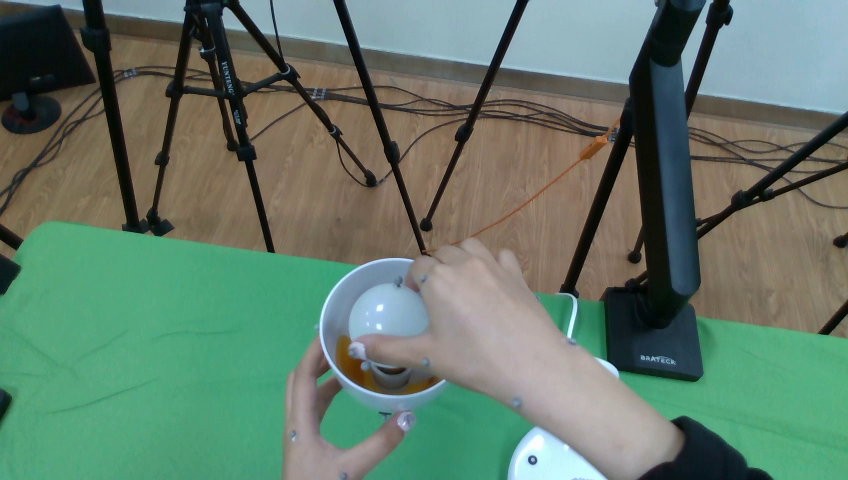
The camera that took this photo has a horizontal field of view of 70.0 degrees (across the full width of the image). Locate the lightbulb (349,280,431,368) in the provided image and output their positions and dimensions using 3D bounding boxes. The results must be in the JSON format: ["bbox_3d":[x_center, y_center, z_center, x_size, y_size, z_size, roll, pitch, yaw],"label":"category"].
[{"bbox_3d":[-0.024,0.071,0.459,0.059,0.108,0.059,0,60,0],"label":"lightbulb"}]

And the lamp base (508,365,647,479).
[{"bbox_3d":[0.177,0.220,0.634,0.161,0.182,0.177,-4,53,-7],"label":"lamp base"}]

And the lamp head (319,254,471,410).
[{"bbox_3d":[-0.019,0.086,0.489,0.112,0.124,0.111,-1,60,2],"label":"lamp head"}]
